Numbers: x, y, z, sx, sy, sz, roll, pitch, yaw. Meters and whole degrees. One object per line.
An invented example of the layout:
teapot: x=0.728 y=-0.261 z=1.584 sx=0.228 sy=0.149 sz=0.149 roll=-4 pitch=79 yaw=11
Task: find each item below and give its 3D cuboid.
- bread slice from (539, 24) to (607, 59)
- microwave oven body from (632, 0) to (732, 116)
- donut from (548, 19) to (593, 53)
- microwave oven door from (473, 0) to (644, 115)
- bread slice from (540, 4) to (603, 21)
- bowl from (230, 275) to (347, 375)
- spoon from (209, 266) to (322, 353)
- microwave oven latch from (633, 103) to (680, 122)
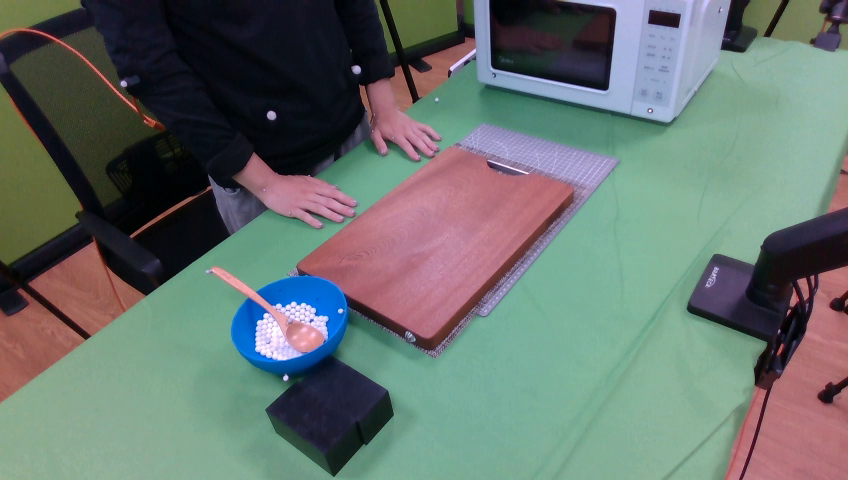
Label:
bread slice: x=0.334 y=-0.443 z=1.337 sx=0.132 sy=0.019 sz=0.104 roll=-32 pitch=43 yaw=-21
microwave oven body: x=0.377 y=-0.462 z=1.267 sx=0.438 sy=0.261 sz=0.327 roll=21 pitch=48 yaw=30
donut: x=0.314 y=-0.440 z=1.300 sx=0.099 sy=0.048 sz=0.098 roll=-19 pitch=36 yaw=15
microwave oven door: x=0.257 y=-0.396 z=1.199 sx=0.353 sy=0.245 sz=0.039 roll=21 pitch=48 yaw=29
bread slice: x=0.316 y=-0.483 z=1.278 sx=0.106 sy=0.018 sz=0.135 roll=16 pitch=32 yaw=27
bowl: x=-0.171 y=0.125 z=0.802 sx=0.151 sy=0.077 sz=0.150 roll=-4 pitch=40 yaw=4
spoon: x=-0.214 y=0.088 z=0.806 sx=0.193 sy=0.021 sz=0.042 roll=37 pitch=56 yaw=11
microwave oven latch: x=0.443 y=-0.249 z=1.157 sx=0.078 sy=0.029 sz=0.030 roll=20 pitch=48 yaw=30
